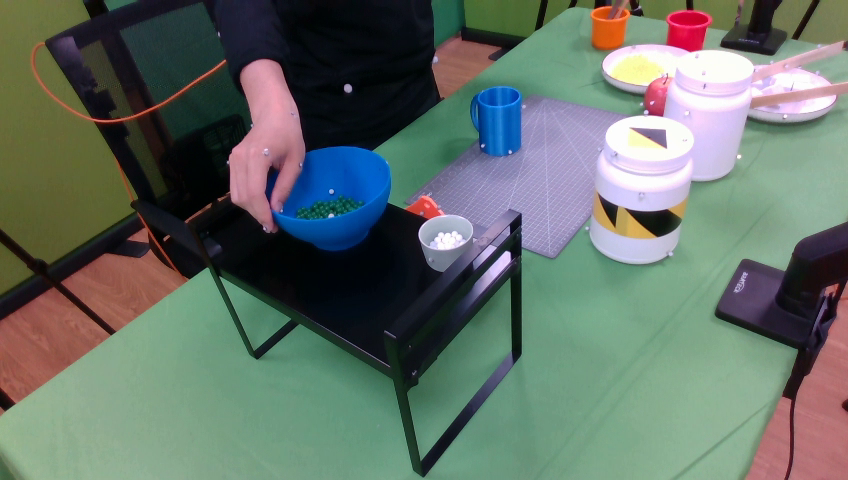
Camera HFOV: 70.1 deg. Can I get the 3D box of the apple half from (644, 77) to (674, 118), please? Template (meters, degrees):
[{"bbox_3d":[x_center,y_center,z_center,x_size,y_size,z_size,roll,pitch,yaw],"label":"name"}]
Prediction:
[{"bbox_3d":[0.463,-0.279,1.194,0.053,0.075,0.081,8,46,24],"label":"apple half"}]

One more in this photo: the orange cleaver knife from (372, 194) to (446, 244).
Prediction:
[{"bbox_3d":[-0.032,-0.026,0.965,0.210,0.077,0.012,-9,29,51],"label":"orange cleaver knife"}]

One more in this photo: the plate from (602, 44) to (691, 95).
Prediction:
[{"bbox_3d":[0.494,-0.367,1.317,0.209,0.038,0.208,-4,40,4],"label":"plate"}]

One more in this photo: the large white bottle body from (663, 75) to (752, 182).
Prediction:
[{"bbox_3d":[0.472,-0.207,1.022,0.130,0.185,0.130,-4,41,4],"label":"large white bottle body"}]

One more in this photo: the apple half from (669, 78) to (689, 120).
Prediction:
[{"bbox_3d":[0.498,-0.273,1.180,0.032,0.082,0.081,7,42,25],"label":"apple half"}]

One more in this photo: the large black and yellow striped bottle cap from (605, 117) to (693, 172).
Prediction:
[{"bbox_3d":[0.309,-0.134,0.833,0.115,0.019,0.114,-5,40,5],"label":"large black and yellow striped bottle cap"}]

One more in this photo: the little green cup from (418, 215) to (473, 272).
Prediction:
[{"bbox_3d":[0.026,0.005,0.678,0.061,0.039,0.061,-4,40,4],"label":"little green cup"}]

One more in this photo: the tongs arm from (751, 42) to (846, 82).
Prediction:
[{"bbox_3d":[0.708,-0.331,1.193,0.386,0.026,0.050,-18,45,-16],"label":"tongs arm"}]

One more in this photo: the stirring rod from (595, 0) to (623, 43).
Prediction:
[{"bbox_3d":[0.460,-0.556,1.459,0.014,0.006,0.176,30,93,23],"label":"stirring rod"}]

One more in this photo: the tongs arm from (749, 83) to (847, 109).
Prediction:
[{"bbox_3d":[0.734,-0.280,1.133,0.388,0.028,0.028,-9,47,-5],"label":"tongs arm"}]

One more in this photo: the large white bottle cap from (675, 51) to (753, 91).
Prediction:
[{"bbox_3d":[0.463,-0.271,0.967,0.115,0.018,0.114,-4,40,4],"label":"large white bottle cap"}]

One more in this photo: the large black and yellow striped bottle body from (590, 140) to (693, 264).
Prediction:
[{"bbox_3d":[0.317,-0.071,0.889,0.131,0.185,0.130,-4,41,4],"label":"large black and yellow striped bottle body"}]

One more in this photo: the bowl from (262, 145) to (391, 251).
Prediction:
[{"bbox_3d":[-0.109,-0.040,0.723,0.151,0.077,0.150,-4,41,4],"label":"bowl"}]

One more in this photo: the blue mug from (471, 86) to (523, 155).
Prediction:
[{"bbox_3d":[0.135,-0.235,1.163,0.082,0.106,0.115,-36,48,-28],"label":"blue mug"}]

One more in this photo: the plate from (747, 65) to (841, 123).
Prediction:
[{"bbox_3d":[0.694,-0.282,1.189,0.207,0.039,0.206,-4,40,4],"label":"plate"}]

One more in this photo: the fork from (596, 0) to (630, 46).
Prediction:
[{"bbox_3d":[0.481,-0.556,1.452,0.028,0.019,0.207,40,103,41],"label":"fork"}]
